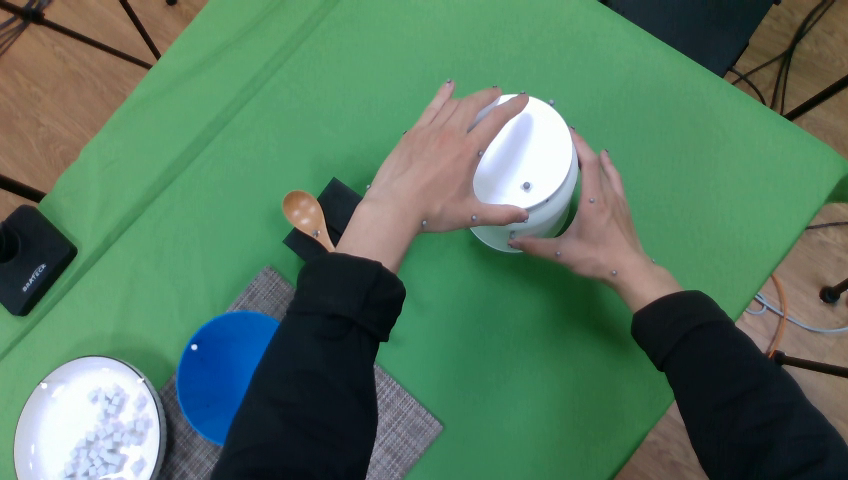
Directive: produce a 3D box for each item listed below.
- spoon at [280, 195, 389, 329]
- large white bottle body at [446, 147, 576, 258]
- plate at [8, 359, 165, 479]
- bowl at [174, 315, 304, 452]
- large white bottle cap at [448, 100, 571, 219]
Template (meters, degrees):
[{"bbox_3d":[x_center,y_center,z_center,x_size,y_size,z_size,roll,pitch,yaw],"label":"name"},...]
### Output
[{"bbox_3d":[-0.104,0.027,0.707,0.041,0.022,0.193,-37,81,-5],"label":"spoon"},{"bbox_3d":[0.094,-0.059,0.653,0.130,0.185,0.130,-2,78,9],"label":"large white bottle body"},{"bbox_3d":[-0.411,0.253,0.750,0.209,0.038,0.208,-3,77,11],"label":"plate"},{"bbox_3d":[-0.203,0.165,0.711,0.151,0.077,0.150,-2,79,9],"label":"bowl"},{"bbox_3d":[0.080,-0.077,0.571,0.114,0.018,0.114,-2,78,8],"label":"large white bottle cap"}]
